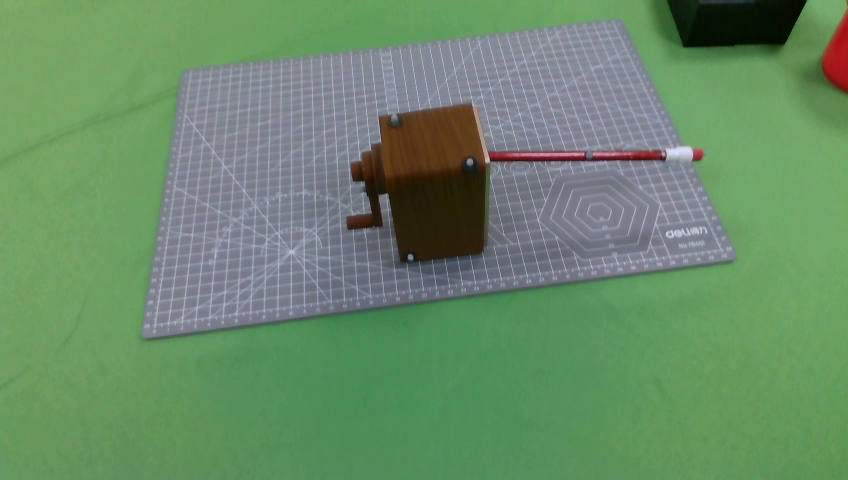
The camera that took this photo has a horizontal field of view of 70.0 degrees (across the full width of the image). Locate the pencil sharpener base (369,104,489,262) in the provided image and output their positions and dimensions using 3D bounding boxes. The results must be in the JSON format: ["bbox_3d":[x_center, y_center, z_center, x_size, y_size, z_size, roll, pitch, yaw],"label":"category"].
[{"bbox_3d":[0.004,-0.038,0.444,0.077,0.108,0.060,-8,55,-1],"label":"pencil sharpener base"}]

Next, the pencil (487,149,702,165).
[{"bbox_3d":[0.105,-0.059,0.431,0.194,0.012,0.012,-1,55,-7],"label":"pencil"}]

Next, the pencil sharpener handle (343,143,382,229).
[{"bbox_3d":[-0.047,-0.035,0.430,0.030,0.068,0.035,-8,41,-1],"label":"pencil sharpener handle"}]
